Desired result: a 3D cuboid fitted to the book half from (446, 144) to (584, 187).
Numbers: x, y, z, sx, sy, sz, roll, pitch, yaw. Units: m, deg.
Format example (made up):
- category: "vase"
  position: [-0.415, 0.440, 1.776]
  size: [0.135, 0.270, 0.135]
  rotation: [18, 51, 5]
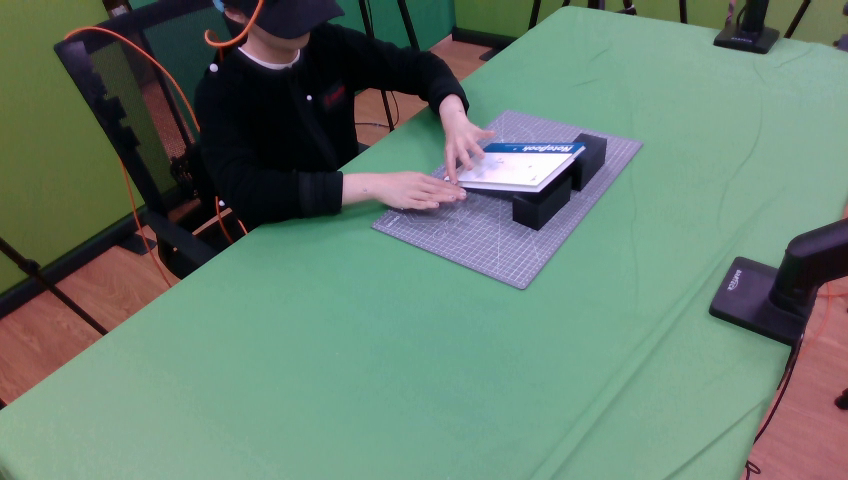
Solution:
- category: "book half"
  position: [0.155, -0.133, 1.056]
  size: [0.208, 0.007, 0.143]
  rotation: [9, 40, 46]
